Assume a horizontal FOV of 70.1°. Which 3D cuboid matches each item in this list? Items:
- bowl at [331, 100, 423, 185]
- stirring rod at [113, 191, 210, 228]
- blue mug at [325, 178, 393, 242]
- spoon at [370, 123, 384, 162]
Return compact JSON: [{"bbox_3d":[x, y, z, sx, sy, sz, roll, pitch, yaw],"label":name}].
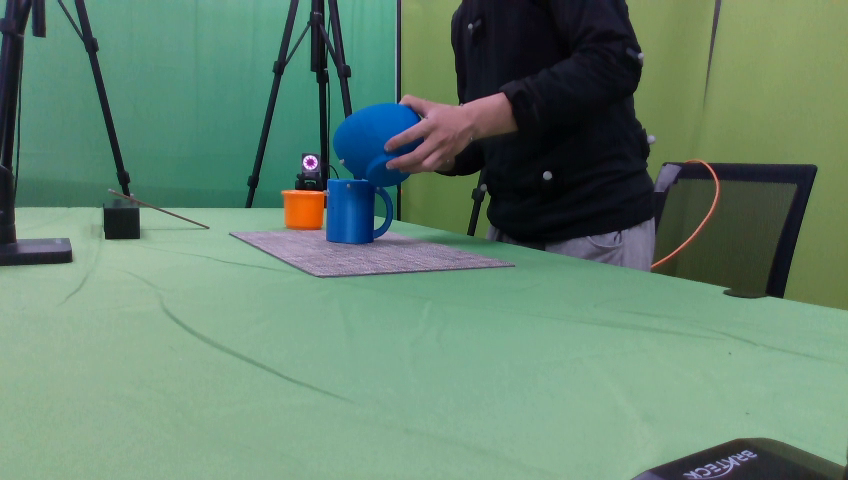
[{"bbox_3d":[-0.065,-0.140,0.956,0.152,0.076,0.151,-16,-26,-8],"label":"bowl"},{"bbox_3d":[-0.484,-0.055,1.121,0.177,0.006,0.014,22,-6,-22],"label":"stirring rod"},{"bbox_3d":[-0.111,-0.052,1.034,0.116,0.106,0.082,3,7,7],"label":"blue mug"},{"bbox_3d":[-0.081,-0.180,1.067,0.021,0.042,0.193,-20,24,5],"label":"spoon"}]
